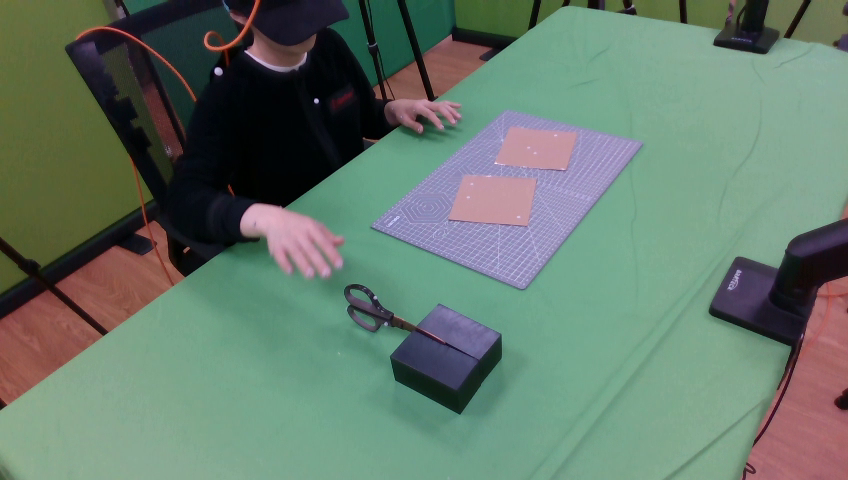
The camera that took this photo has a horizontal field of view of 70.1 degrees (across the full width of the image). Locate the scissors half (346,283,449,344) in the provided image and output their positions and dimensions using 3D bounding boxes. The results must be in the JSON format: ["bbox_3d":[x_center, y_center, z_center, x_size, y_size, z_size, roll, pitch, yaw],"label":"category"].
[{"bbox_3d":[-0.038,0.099,0.803,0.174,0.040,0.013,26,38,28],"label":"scissors half"}]

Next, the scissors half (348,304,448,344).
[{"bbox_3d":[-0.037,0.117,0.813,0.174,0.040,0.013,9,34,39],"label":"scissors half"}]

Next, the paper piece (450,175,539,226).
[{"bbox_3d":[0.125,-0.073,1.051,0.135,0.009,0.138,3,42,18],"label":"paper piece"}]

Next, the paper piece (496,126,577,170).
[{"bbox_3d":[0.218,-0.178,1.159,0.135,0.004,0.135,9,44,18],"label":"paper piece"}]
